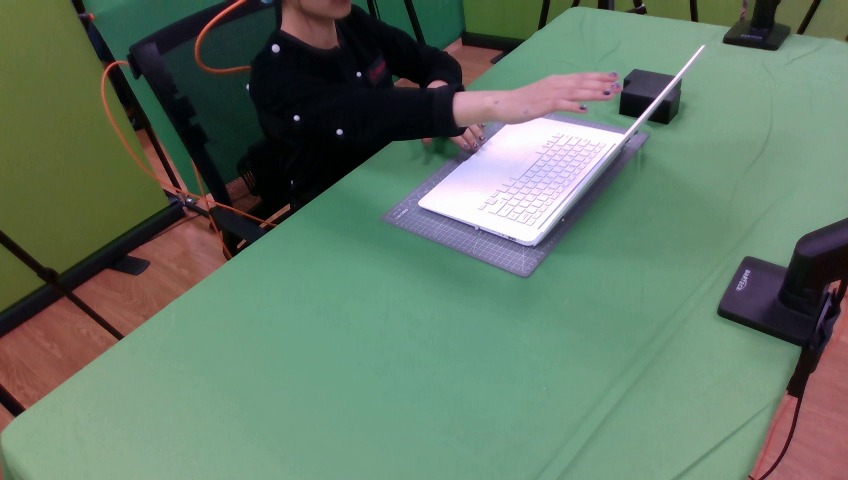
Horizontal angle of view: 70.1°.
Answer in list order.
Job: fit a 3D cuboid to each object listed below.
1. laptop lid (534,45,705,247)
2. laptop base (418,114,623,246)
[{"bbox_3d":[0.305,-0.146,0.938,0.013,0.241,0.357,40,54,9],"label":"laptop lid"},{"bbox_3d":[0.183,-0.123,1.094,0.233,0.023,0.355,19,48,34],"label":"laptop base"}]
